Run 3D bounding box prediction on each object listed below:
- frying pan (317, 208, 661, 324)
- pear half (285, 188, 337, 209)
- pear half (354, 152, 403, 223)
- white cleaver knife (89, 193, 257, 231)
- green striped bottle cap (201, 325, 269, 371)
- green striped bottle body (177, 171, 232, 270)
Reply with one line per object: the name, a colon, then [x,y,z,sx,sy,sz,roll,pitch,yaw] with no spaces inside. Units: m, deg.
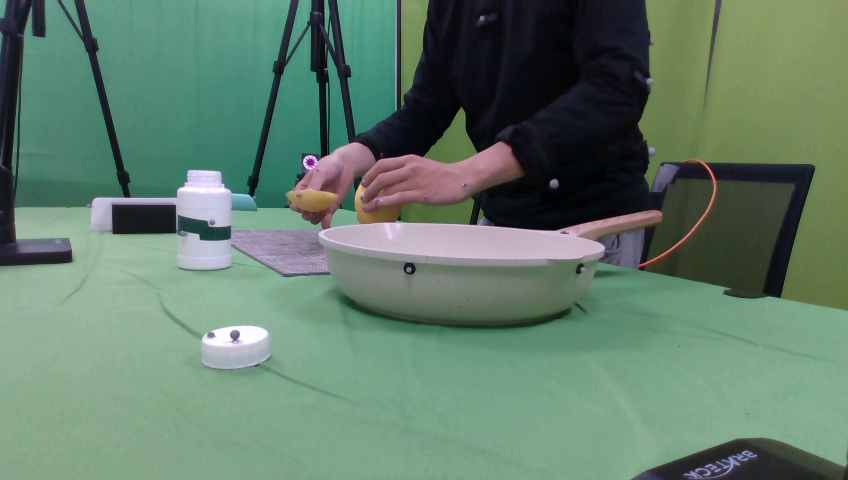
frying pan: [0.121,0.006,0.691,0.490,0.102,0.305,-13,15,-33]
pear half: [-0.179,-0.063,0.942,0.087,0.031,0.071,-7,-11,27]
pear half: [-0.059,-0.074,0.888,0.056,0.109,0.077,7,7,29]
white cleaver knife: [-0.454,-0.052,1.114,0.288,0.066,0.021,-4,14,-27]
green striped bottle cap: [-0.129,0.073,0.415,0.044,0.020,0.044,2,8,0]
green striped bottle body: [-0.273,-0.026,0.752,0.063,0.119,0.063,2,7,0]
